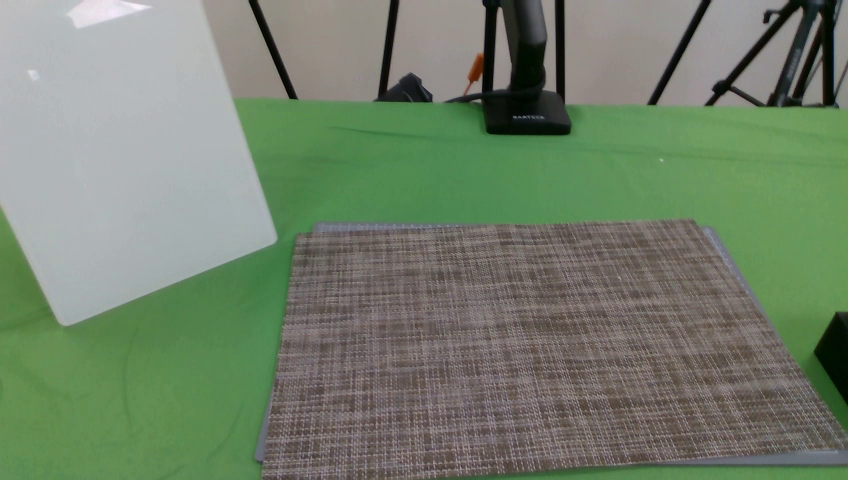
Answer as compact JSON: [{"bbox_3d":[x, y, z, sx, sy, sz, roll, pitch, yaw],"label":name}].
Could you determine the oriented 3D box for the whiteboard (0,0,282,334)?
[{"bbox_3d":[-0.304,-0.106,0.595,0.217,0.307,0.142,-24,25,-28],"label":"whiteboard"}]
